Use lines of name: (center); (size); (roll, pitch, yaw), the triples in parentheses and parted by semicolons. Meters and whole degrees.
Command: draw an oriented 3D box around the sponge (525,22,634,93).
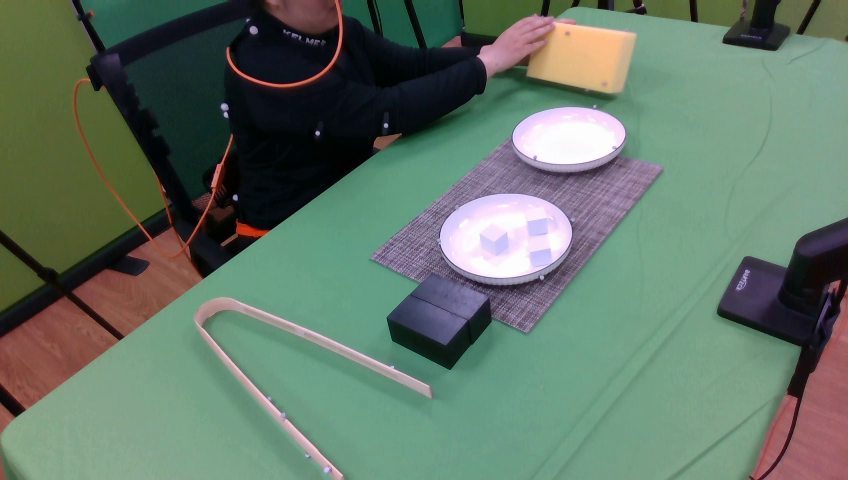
sponge: (0.325, -0.389, 1.284); (0.205, 0.118, 0.061); (24, 26, 37)

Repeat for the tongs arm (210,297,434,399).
tongs arm: (-0.153, 0.143, 0.837); (0.385, 0.028, 0.028); (16, 49, 28)

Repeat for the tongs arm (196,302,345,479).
tongs arm: (-0.206, 0.185, 0.791); (0.381, 0.026, 0.051); (28, 51, 37)

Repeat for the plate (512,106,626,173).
plate: (0.269, -0.185, 1.132); (0.209, 0.038, 0.208); (-5, 40, 5)

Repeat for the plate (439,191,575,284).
plate: (0.129, -0.001, 0.942); (0.207, 0.039, 0.206); (-5, 40, 5)
